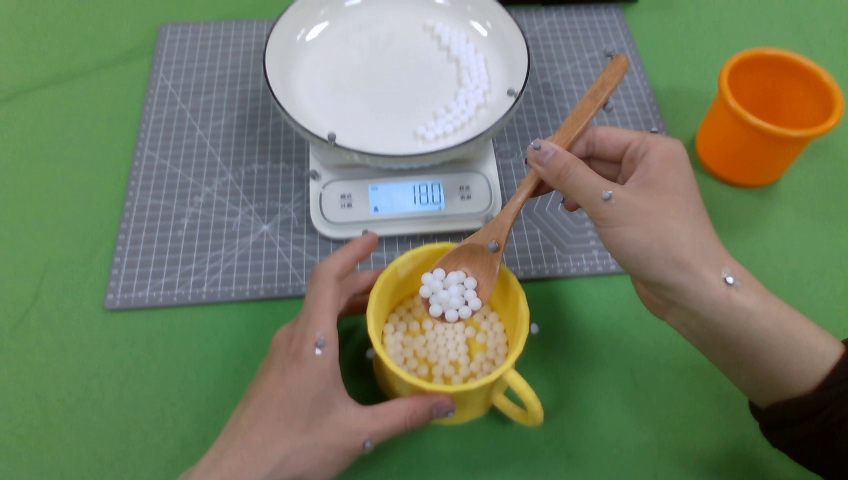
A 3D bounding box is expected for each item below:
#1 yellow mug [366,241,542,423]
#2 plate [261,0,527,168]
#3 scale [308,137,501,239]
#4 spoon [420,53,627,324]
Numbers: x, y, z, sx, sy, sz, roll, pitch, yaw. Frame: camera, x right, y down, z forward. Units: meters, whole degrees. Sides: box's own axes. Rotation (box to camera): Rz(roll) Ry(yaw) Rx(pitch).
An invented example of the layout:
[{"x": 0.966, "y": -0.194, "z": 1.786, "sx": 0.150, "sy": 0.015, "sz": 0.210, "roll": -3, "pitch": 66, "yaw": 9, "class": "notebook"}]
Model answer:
[{"x": 0.025, "y": 0.068, "z": 0.389, "sx": 0.130, "sy": 0.064, "sz": 0.100, "roll": 41, "pitch": 68, "yaw": 19, "class": "yellow mug"}, {"x": -0.023, "y": -0.137, "z": 0.488, "sx": 0.209, "sy": 0.038, "sz": 0.207, "roll": 1, "pitch": 59, "yaw": -2, "class": "plate"}, {"x": -0.021, "y": -0.095, "z": 0.501, "sx": 0.149, "sy": 0.032, "sz": 0.199, "roll": -4, "pitch": 60, "yaw": -3, "class": "scale"}, {"x": 0.063, "y": -0.031, "z": 0.361, "sx": 0.041, "sy": 0.022, "sz": 0.194, "roll": 37, "pitch": 96, "yaw": 19, "class": "spoon"}]
